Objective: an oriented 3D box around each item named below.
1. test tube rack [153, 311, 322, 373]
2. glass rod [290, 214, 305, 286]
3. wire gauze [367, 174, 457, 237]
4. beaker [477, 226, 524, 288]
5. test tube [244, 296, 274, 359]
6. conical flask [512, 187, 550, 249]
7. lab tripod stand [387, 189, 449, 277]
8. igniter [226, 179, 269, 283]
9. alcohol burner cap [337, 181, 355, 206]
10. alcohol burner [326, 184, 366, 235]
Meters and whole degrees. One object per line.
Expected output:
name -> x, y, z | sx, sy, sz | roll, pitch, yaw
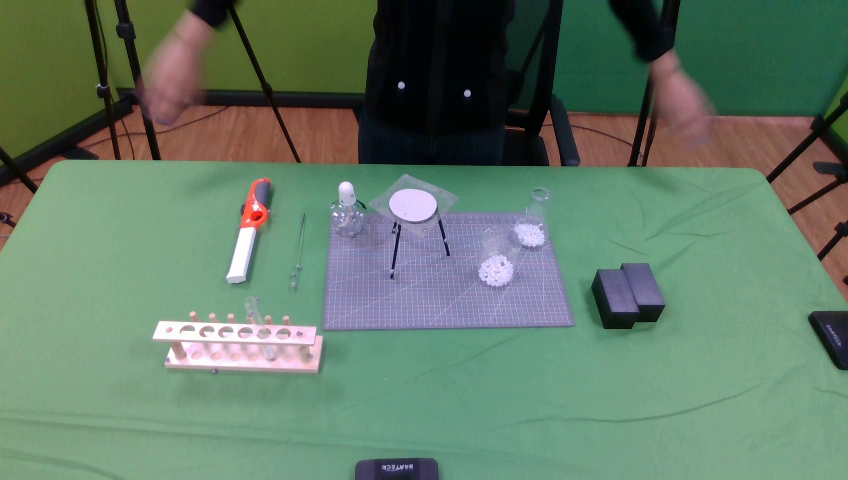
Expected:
test tube rack -> -0.293, 0.160, 0.978 | 0.242, 0.085, 0.066 | 3, 46, -2
glass rod -> -0.245, 0.015, 1.175 | 0.008, 0.008, 0.198 | 1, 43, -3
wire gauze -> -0.021, -0.067, 1.089 | 0.124, 0.011, 0.121 | 28, 49, 21
beaker -> 0.139, 0.033, 1.122 | 0.084, 0.101, 0.073 | -12, 48, -16
test tube -> -0.253, 0.138, 0.934 | 0.017, 0.151, 0.017 | -1, 46, 1
conical flask -> 0.217, -0.048, 1.190 | 0.075, 0.122, 0.075 | 2, 46, -2
lab tripod stand -> -0.021, -0.018, 1.135 | 0.148, 0.132, 0.147 | 3, 44, -3
igniter -> -0.345, -0.027, 1.195 | 0.057, 0.025, 0.274 | -6, 46, 5
alcohol burner cap -> -0.151, -0.090, 1.157 | 0.034, 0.048, 0.033 | 0, 52, 0
alcohol burner -> -0.152, -0.066, 1.184 | 0.078, 0.119, 0.077 | 4, 46, -4
